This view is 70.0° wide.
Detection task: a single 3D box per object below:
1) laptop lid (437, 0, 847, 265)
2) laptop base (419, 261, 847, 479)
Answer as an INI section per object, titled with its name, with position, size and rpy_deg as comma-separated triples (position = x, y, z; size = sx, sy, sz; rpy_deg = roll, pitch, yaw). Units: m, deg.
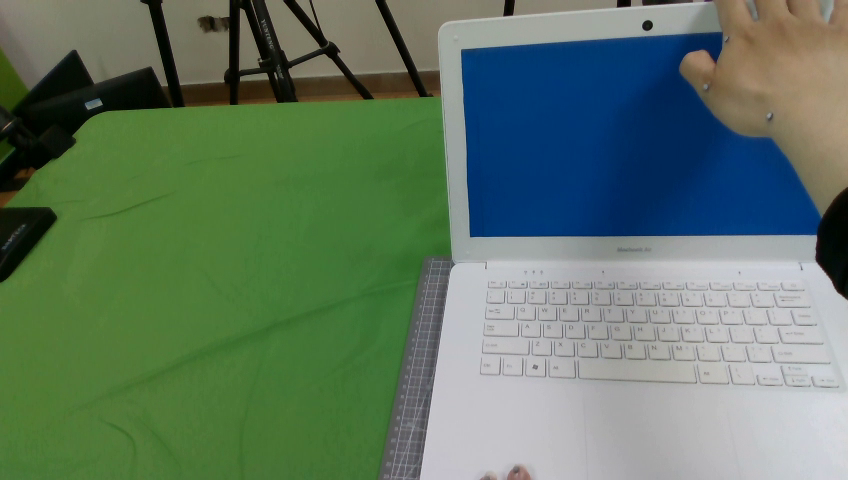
[laptop lid]
position = 0.191, -0.081, 0.535
size = 0.356, 0.243, 0.013
rpy_deg = -2, 21, 12
[laptop base]
position = 0.183, 0.110, 0.497
size = 0.353, 0.023, 0.233
rpy_deg = -1, 48, 11
